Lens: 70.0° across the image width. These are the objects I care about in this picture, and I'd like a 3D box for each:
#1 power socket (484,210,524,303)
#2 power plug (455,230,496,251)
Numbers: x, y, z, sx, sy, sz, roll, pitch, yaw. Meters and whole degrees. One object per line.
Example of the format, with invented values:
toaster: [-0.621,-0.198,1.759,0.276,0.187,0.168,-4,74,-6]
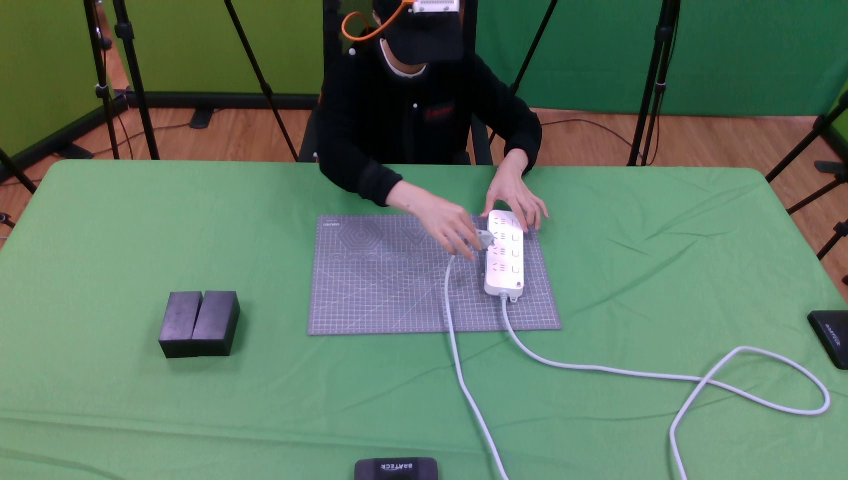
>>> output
power socket: [0.157,0.022,1.176,0.072,0.033,0.225,6,46,3]
power plug: [0.098,0.005,1.123,0.072,0.053,0.035,-18,44,20]
